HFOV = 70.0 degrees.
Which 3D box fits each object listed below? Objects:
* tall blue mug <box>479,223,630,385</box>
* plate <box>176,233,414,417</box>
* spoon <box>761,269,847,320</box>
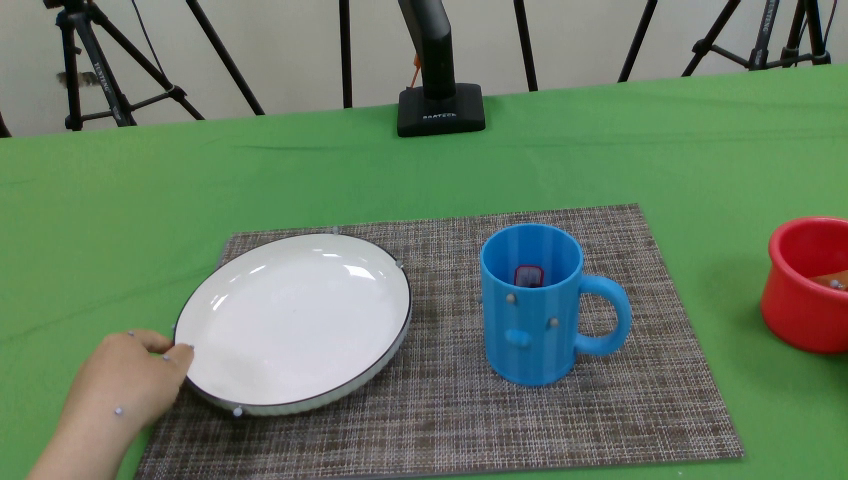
[{"bbox_3d":[0.100,0.050,0.482,0.107,0.109,0.077,-8,39,-1],"label":"tall blue mug"},{"bbox_3d":[-0.110,0.073,0.543,0.207,0.039,0.205,-4,40,4],"label":"plate"},{"bbox_3d":[0.357,0.016,0.462,0.022,0.194,0.041,38,41,-18],"label":"spoon"}]
